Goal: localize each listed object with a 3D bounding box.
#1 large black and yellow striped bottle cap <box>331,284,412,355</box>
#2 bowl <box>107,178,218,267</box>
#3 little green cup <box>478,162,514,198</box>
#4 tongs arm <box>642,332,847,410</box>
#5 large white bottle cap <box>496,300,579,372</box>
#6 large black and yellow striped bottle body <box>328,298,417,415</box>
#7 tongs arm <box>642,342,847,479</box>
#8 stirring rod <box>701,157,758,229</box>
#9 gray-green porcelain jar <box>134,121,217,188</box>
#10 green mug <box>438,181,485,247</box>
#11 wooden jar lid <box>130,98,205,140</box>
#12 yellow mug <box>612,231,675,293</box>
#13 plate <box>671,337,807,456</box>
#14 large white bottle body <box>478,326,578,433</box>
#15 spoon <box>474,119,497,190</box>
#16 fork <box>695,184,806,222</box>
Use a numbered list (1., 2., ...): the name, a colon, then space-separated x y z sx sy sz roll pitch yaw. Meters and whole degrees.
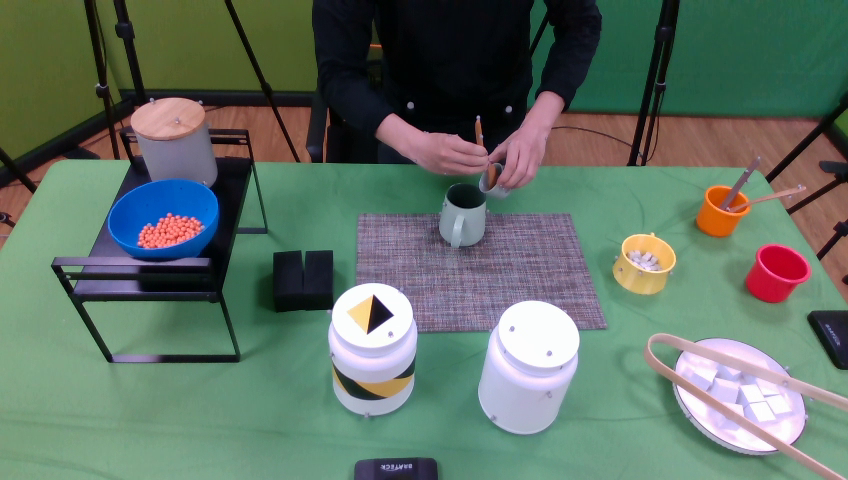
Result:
1. large black and yellow striped bottle cap: -0.073 0.110 0.858 0.115 0.019 0.114 2 46 -2
2. bowl: -0.374 -0.014 0.893 0.151 0.077 0.150 2 46 -2
3. little green cup: 0.135 -0.109 1.124 0.039 0.061 0.061 27 37 -32
4. tongs arm: 0.546 0.227 0.968 0.384 0.026 0.050 22 52 13
5. large white bottle cap: 0.160 0.133 0.852 0.115 0.018 0.114 3 46 -3
6. large black and yellow striped bottle body: -0.078 0.167 0.920 0.131 0.185 0.130 2 46 -2
7. tongs arm: 0.504 0.279 0.918 0.386 0.028 0.028 33 59 22
8. stirring rod: 0.634 -0.097 1.257 0.014 0.006 0.176 38 97 30
9. gray-green porcelain jar: -0.396 -0.141 0.979 0.106 0.127 0.105 2 47 -2
10. green mug: 0.071 -0.039 1.177 0.092 0.105 0.124 12 47 7
11. wooden jar lid: -0.393 -0.183 0.934 0.108 0.021 0.107 2 44 -2
12. yellow mug: 0.424 0.033 1.168 0.100 0.064 0.130 18 46 14
13. plate: 0.504 0.254 0.984 0.208 0.039 0.206 2 46 -2
14. large white bottle body: 0.156 0.192 0.913 0.131 0.185 0.130 2 46 -2
15. spoon: 0.104 -0.147 1.057 0.021 0.195 0.041 13 67 25
16. fork: 0.658 -0.074 1.230 0.207 0.019 0.028 -23 35 37
